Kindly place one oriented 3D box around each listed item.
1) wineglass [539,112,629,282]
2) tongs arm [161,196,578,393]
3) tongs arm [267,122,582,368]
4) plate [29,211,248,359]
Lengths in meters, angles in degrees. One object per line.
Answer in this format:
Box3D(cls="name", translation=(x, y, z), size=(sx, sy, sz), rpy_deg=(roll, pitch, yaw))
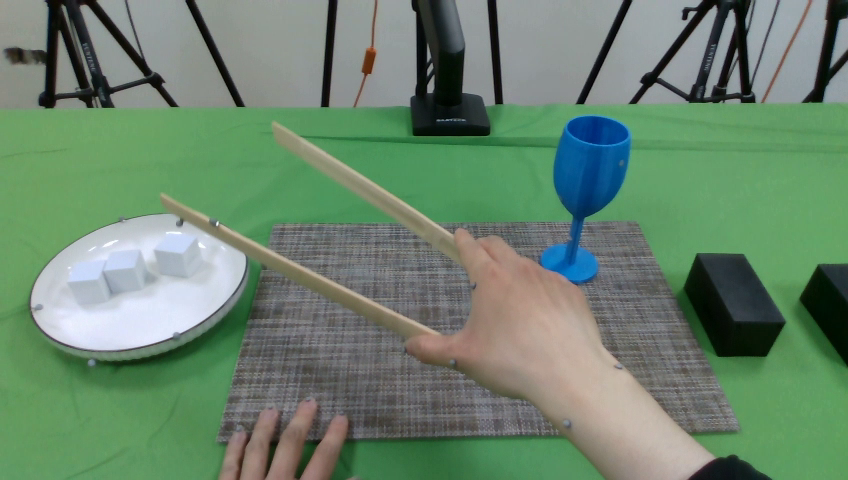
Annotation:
Box3D(cls="wineglass", translation=(0.164, -0.042, 0.636), size=(0.074, 0.174, 0.073), rpy_deg=(1, 40, 0))
Box3D(cls="tongs arm", translation=(-0.065, 0.028, 0.487), size=(0.382, 0.027, 0.050), rpy_deg=(25, 53, 24))
Box3D(cls="tongs arm", translation=(-0.021, -0.016, 0.522), size=(0.384, 0.028, 0.028), rpy_deg=(35, 54, 30))
Box3D(cls="plate", translation=(-0.286, 0.045, 0.628), size=(0.209, 0.038, 0.207), rpy_deg=(1, 39, 0))
